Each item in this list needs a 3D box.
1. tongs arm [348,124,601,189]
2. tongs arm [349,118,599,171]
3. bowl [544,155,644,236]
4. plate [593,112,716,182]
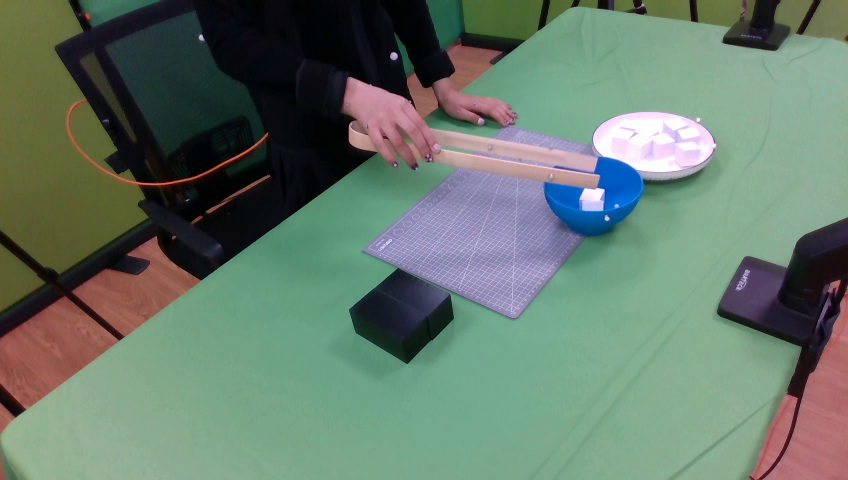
[{"bbox_3d":[0.067,-0.124,0.903,0.387,0.028,0.028,12,41,7],"label":"tongs arm"},{"bbox_3d":[0.074,-0.144,0.932,0.384,0.026,0.050,12,37,7],"label":"tongs arm"},{"bbox_3d":[0.266,-0.061,0.957,0.151,0.077,0.150,-5,40,5],"label":"bowl"},{"bbox_3d":[0.408,-0.163,1.084,0.207,0.039,0.206,-4,40,4],"label":"plate"}]
